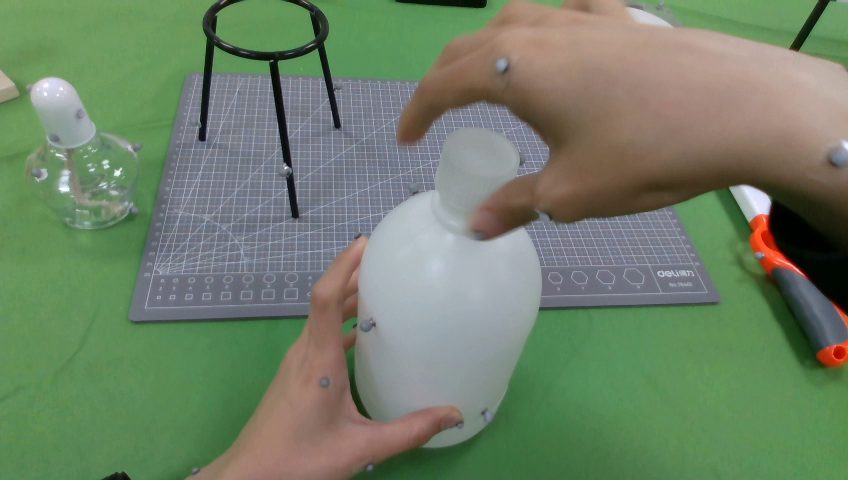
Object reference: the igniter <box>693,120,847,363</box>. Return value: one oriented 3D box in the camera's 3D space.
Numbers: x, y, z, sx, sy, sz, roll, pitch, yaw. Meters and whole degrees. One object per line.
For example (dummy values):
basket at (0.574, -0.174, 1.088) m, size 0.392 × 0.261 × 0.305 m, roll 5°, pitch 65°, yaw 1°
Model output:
igniter at (0.305, -0.013, 0.540) m, size 0.057 × 0.025 × 0.273 m, roll 8°, pitch 48°, yaw -16°

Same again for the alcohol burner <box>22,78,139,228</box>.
alcohol burner at (-0.253, -0.066, 0.441) m, size 0.078 × 0.120 × 0.077 m, roll 6°, pitch 47°, yaw -6°

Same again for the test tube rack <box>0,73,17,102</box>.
test tube rack at (-0.473, -0.118, 0.470) m, size 0.066 × 0.086 × 0.242 m, roll 38°, pitch 54°, yaw 22°

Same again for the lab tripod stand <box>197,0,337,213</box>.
lab tripod stand at (-0.122, -0.116, 0.489) m, size 0.149 × 0.132 × 0.147 m, roll 6°, pitch 49°, yaw -6°

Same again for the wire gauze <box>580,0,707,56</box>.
wire gauze at (0.238, -0.241, 0.679) m, size 0.122 × 0.011 × 0.123 m, roll 1°, pitch 49°, yaw -10°

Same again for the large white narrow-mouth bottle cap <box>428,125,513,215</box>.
large white narrow-mouth bottle cap at (0.020, -0.031, 0.272) m, size 0.038 × 0.024 × 0.037 m, roll 4°, pitch 48°, yaw -4°

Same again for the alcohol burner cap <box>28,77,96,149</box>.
alcohol burner cap at (-0.249, -0.088, 0.413) m, size 0.034 × 0.048 × 0.033 m, roll 3°, pitch 55°, yaw -5°

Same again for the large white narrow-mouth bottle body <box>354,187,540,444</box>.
large white narrow-mouth bottle body at (0.011, 0.033, 0.343) m, size 0.102 × 0.196 × 0.101 m, roll 4°, pitch 48°, yaw -4°
